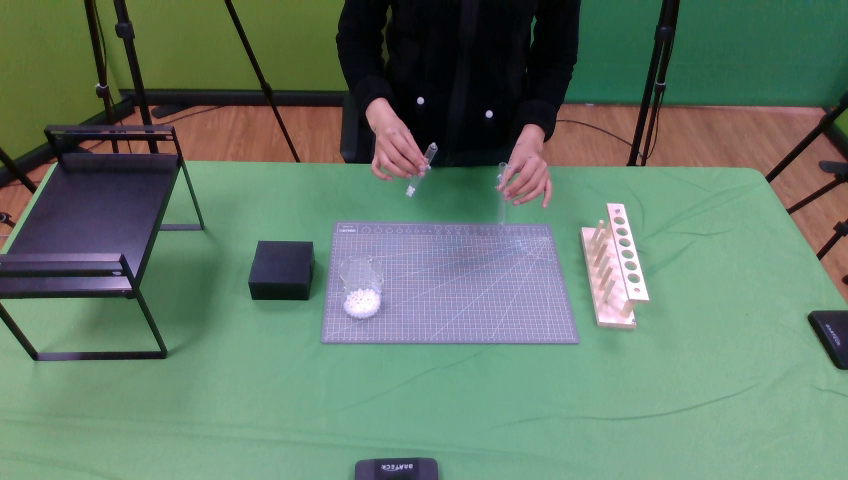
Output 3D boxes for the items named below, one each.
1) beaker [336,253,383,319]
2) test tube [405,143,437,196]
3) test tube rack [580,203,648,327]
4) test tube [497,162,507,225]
[{"bbox_3d":[-0.108,0.084,1.052,0.084,0.101,0.074,25,50,17],"label":"beaker"},{"bbox_3d":[-0.007,-0.123,1.088,0.017,0.151,0.017,10,57,-16],"label":"test tube"},{"bbox_3d":[0.352,0.041,1.143,0.067,0.085,0.241,4,46,0],"label":"test tube rack"},{"bbox_3d":[0.144,-0.083,1.130,0.017,0.151,0.017,-3,46,3],"label":"test tube"}]
